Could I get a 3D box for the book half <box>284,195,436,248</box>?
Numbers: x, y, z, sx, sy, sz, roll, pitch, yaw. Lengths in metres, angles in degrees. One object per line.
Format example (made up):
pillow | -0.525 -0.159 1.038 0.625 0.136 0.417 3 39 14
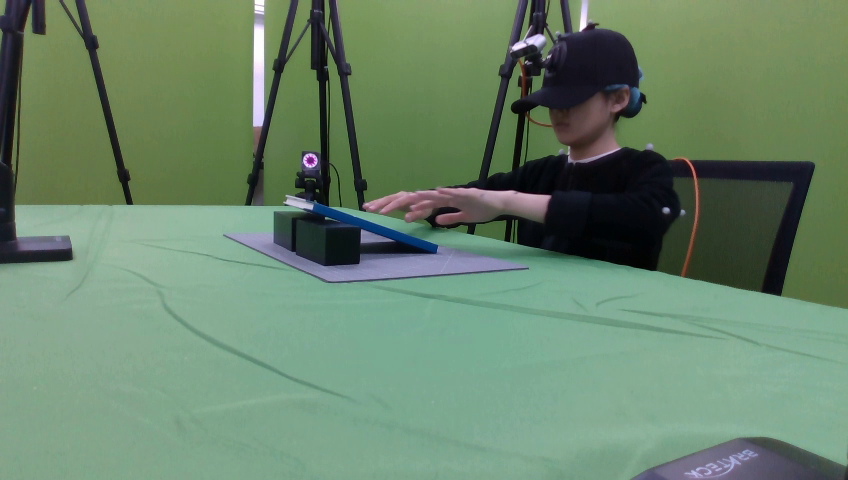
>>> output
book half | -0.100 -0.028 0.934 0.211 0.007 0.142 19 -1 -29
